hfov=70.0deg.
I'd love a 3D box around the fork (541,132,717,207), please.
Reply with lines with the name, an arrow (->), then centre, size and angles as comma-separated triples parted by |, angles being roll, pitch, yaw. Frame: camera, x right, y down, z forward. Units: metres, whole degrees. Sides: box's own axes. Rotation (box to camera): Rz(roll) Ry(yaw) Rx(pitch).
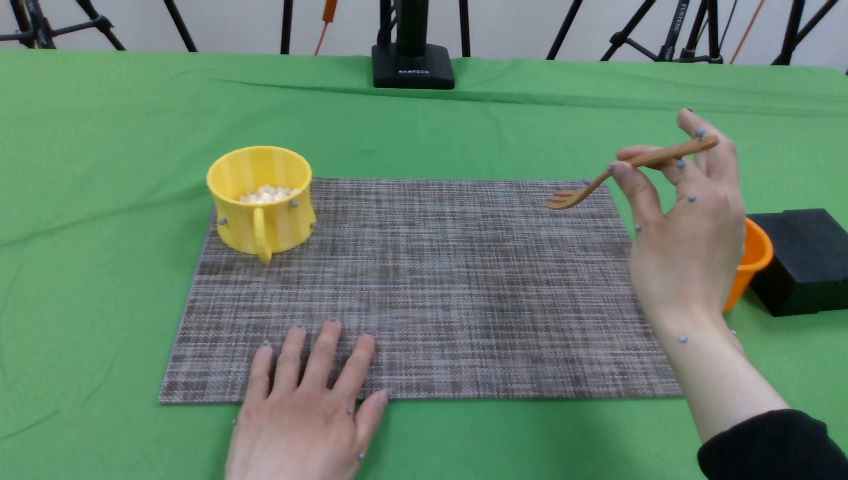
fork -> 0.148, -0.052, 0.474 | 0.028, 0.207, 0.018 | -41, 94, -18

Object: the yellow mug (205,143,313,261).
yellow mug -> -0.163, -0.034, 0.609 | 0.100, 0.064, 0.129 | -4, 45, -10
